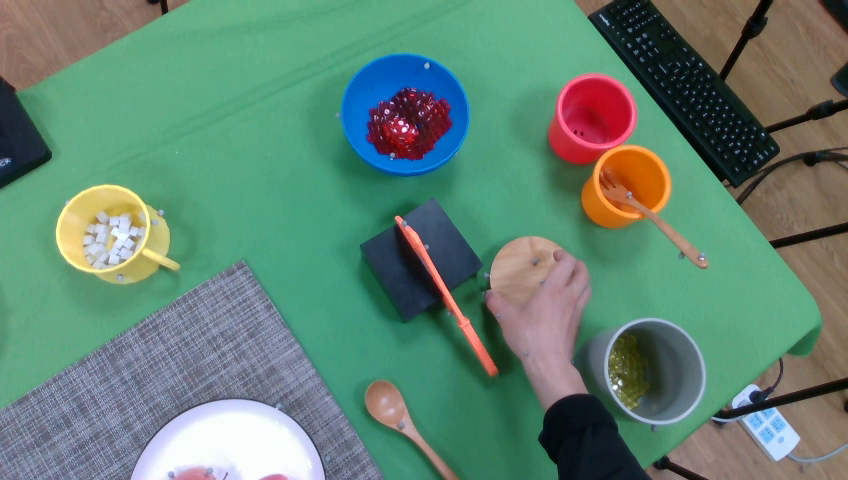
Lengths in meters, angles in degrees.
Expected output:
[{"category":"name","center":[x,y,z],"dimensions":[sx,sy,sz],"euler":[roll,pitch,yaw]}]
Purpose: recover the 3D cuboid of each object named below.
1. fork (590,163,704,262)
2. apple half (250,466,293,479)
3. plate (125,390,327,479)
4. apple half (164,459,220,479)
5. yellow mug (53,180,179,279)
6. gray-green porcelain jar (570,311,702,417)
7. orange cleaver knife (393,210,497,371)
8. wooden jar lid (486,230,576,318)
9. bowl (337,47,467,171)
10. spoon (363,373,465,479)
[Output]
[{"category":"fork","center":[0.250,-0.036,0.693],"dimensions":[0.028,0.019,0.205],"euler":[-18,36,-8]},{"category":"apple half","center":[-0.163,0.284,0.637],"dimensions":[0.081,0.033,0.081],"euler":[1,74,-2]},{"category":"plate","center":[-0.207,0.266,0.644],"dimensions":[0.209,0.038,0.208],"euler":[1,78,-5]},{"category":"apple half","center":[-0.242,0.273,0.624],"dimensions":[0.074,0.053,0.080],"euler":[-37,83,-9]},{"category":"yellow mug","center":[-0.337,-0.004,0.684],"dimensions":[0.131,0.064,0.099],"euler":[27,76,1]},{"category":"gray-green porcelain jar","center":[0.224,0.137,0.664],"dimensions":[0.106,0.127,0.105],"euler":[1,77,-4]},{"category":"orange cleaver knife","center":[0.023,0.057,0.689],"dimensions":[0.012,0.077,0.212],"euler":[-33,105,-7]},{"category":"wooden jar lid","center":[0.127,0.042,0.729],"dimensions":[0.108,0.021,0.108],"euler":[1,76,-5]},{"category":"bowl","center":[-0.027,-0.146,0.733],"dimensions":[0.151,0.077,0.150],"euler":[1,78,-4]},{"category":"spoon","center":[0.000,0.228,0.679],"dimensions":[0.193,0.022,0.041],"euler":[47,56,7]}]
